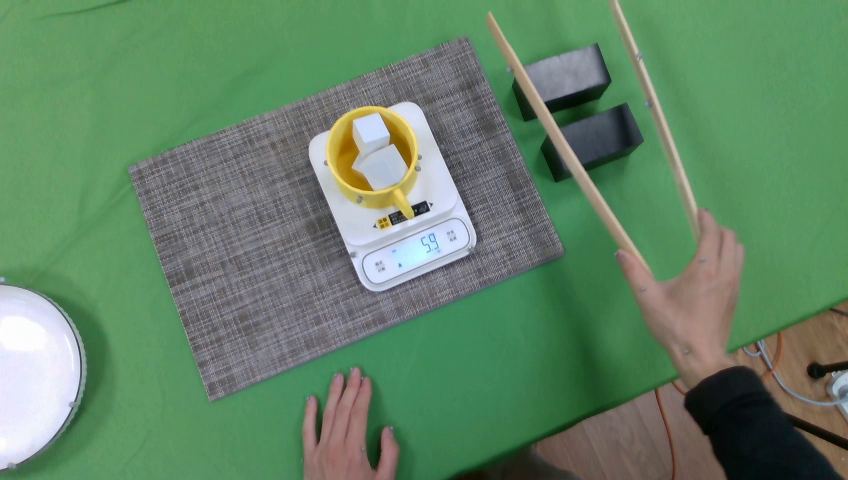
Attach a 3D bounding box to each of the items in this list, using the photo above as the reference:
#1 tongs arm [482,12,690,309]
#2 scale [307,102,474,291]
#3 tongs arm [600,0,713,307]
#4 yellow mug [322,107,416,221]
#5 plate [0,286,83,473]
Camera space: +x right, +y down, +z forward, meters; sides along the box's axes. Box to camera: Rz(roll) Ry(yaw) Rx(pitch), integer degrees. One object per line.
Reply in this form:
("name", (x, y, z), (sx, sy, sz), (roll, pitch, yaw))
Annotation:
("tongs arm", (0.161, -0.092, 0.650), (0.028, 0.028, 0.385), (-27, 76, -9))
("scale", (-0.041, -0.054, 0.720), (0.149, 0.031, 0.200), (-23, 82, -4))
("tongs arm", (0.232, -0.118, 0.653), (0.051, 0.026, 0.382), (-16, 76, -3))
("yellow mug", (-0.051, -0.077, 0.676), (0.100, 0.064, 0.130), (-33, 84, -7))
("plate", (-0.485, 0.156, 0.682), (0.208, 0.039, 0.207), (0, 81, -1))
